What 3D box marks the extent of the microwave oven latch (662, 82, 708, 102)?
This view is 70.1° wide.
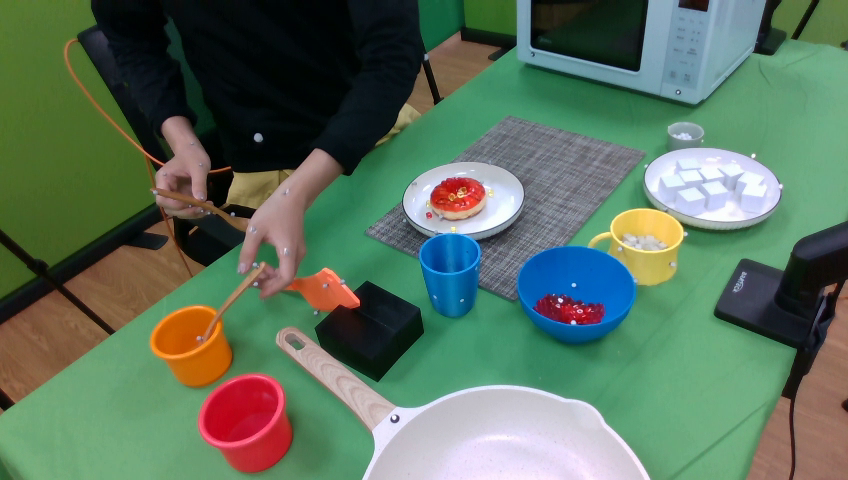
[{"bbox_3d":[0.518,-0.298,1.202,0.078,0.029,0.030,28,53,35],"label":"microwave oven latch"}]

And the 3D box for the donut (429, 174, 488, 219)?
[{"bbox_3d":[0.058,-0.075,1.015,0.099,0.048,0.098,-6,38,5],"label":"donut"}]

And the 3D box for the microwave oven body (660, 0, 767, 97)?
[{"bbox_3d":[0.473,-0.516,1.313,0.438,0.261,0.327,26,51,34],"label":"microwave oven body"}]

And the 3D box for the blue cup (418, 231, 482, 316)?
[{"bbox_3d":[0.040,0.053,0.843,0.092,0.100,0.092,-4,43,4],"label":"blue cup"}]

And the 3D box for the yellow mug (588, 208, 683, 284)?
[{"bbox_3d":[0.305,0.009,0.884,0.131,0.064,0.099,-4,41,5],"label":"yellow mug"}]

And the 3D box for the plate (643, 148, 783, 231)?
[{"bbox_3d":[0.465,-0.079,0.985,0.207,0.039,0.206,-4,40,4],"label":"plate"}]

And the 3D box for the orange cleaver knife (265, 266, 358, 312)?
[{"bbox_3d":[-0.164,0.073,0.864,0.210,0.077,0.012,-6,30,50],"label":"orange cleaver knife"}]

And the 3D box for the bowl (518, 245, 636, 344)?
[{"bbox_3d":[0.200,0.084,0.803,0.151,0.077,0.150,-4,40,4],"label":"bowl"}]

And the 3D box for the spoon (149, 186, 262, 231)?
[{"bbox_3d":[-0.322,-0.048,0.907,0.021,0.195,0.041,-51,54,7],"label":"spoon"}]

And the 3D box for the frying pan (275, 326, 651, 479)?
[{"bbox_3d":[0.003,0.229,0.641,0.484,0.103,0.308,34,54,28],"label":"frying pan"}]

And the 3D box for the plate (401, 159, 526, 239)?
[{"bbox_3d":[0.067,-0.065,1.019,0.209,0.038,0.208,-4,40,4],"label":"plate"}]

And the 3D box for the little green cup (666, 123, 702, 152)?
[{"bbox_3d":[0.472,-0.183,1.102,0.061,0.039,0.061,-6,40,5],"label":"little green cup"}]

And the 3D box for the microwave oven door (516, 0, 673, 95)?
[{"bbox_3d":[0.344,-0.458,1.256,0.353,0.245,0.039,26,51,33],"label":"microwave oven door"}]

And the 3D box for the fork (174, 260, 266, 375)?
[{"bbox_3d":[-0.268,0.102,0.792,0.207,0.019,0.028,-51,41,16],"label":"fork"}]
